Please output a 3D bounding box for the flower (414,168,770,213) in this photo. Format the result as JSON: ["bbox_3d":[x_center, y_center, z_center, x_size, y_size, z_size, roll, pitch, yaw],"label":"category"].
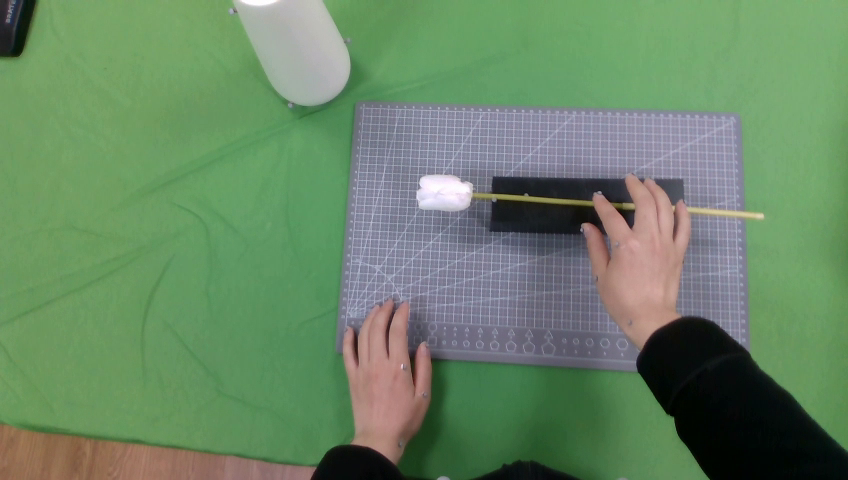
[{"bbox_3d":[0.169,-0.045,0.633,0.361,0.038,0.043,5,46,7],"label":"flower"}]

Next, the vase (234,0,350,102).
[{"bbox_3d":[-0.139,-0.227,0.641,0.098,0.201,0.097,0,78,2],"label":"vase"}]
